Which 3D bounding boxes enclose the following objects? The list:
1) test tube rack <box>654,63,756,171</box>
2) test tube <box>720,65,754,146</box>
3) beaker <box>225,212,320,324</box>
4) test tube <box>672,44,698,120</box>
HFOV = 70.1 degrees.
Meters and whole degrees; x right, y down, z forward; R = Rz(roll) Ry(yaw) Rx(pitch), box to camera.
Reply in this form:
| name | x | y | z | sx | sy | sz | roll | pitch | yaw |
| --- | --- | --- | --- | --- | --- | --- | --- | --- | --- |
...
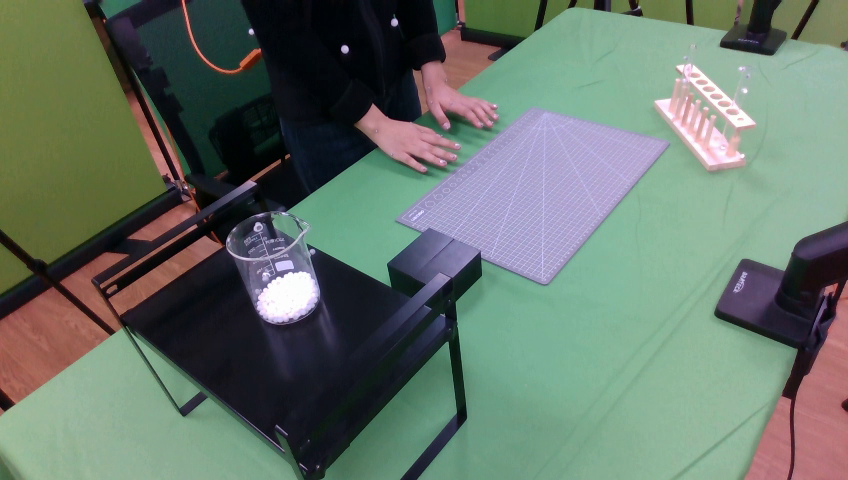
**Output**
| name | x | y | z | sx | sy | sz | roll | pitch | yaw |
| --- | --- | --- | --- | --- | --- | --- | --- | --- | --- |
| test tube rack | 0.510 | -0.233 | 1.120 | 0.067 | 0.085 | 0.241 | -8 | 41 | -1 |
| test tube | 0.533 | -0.226 | 1.032 | 0.017 | 0.151 | 0.017 | -1 | 40 | 2 |
| beaker | -0.149 | 0.031 | 0.625 | 0.084 | 0.101 | 0.073 | -18 | 42 | -13 |
| test tube | 0.484 | -0.291 | 1.122 | 0.017 | 0.151 | 0.017 | -2 | 41 | 2 |
